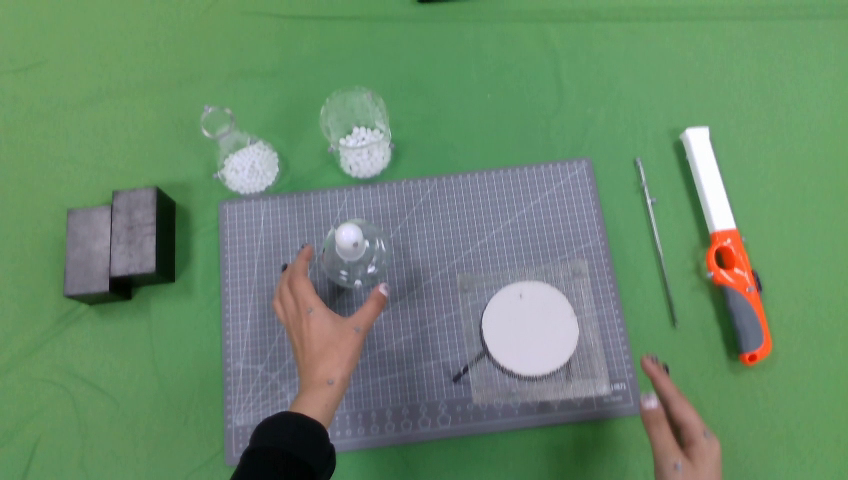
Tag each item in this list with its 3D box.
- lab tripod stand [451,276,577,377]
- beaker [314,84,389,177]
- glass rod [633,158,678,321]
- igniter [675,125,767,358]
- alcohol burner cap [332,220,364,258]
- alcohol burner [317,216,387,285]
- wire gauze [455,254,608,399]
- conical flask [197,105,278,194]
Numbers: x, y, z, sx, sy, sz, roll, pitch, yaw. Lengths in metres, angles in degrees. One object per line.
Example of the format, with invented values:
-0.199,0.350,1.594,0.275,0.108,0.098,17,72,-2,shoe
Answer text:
0.093,0.098,0.611,0.148,0.132,0.147,0,76,1,lab tripod stand
-0.076,-0.119,0.695,0.084,0.101,0.074,28,77,8,beaker
0.268,-0.004,0.704,0.008,0.008,0.198,-8,74,-2,glass rod
0.339,-0.004,0.694,0.057,0.025,0.275,-6,74,-12,igniter
-0.078,-0.004,0.615,0.034,0.048,0.033,1,74,-5,alcohol burner cap
-0.079,0.007,0.649,0.078,0.119,0.077,0,76,0,alcohol burner
0.095,0.078,0.547,0.125,0.011,0.121,-6,75,0,wire gauze
-0.214,-0.106,0.681,0.075,0.122,0.075,0,74,1,conical flask
